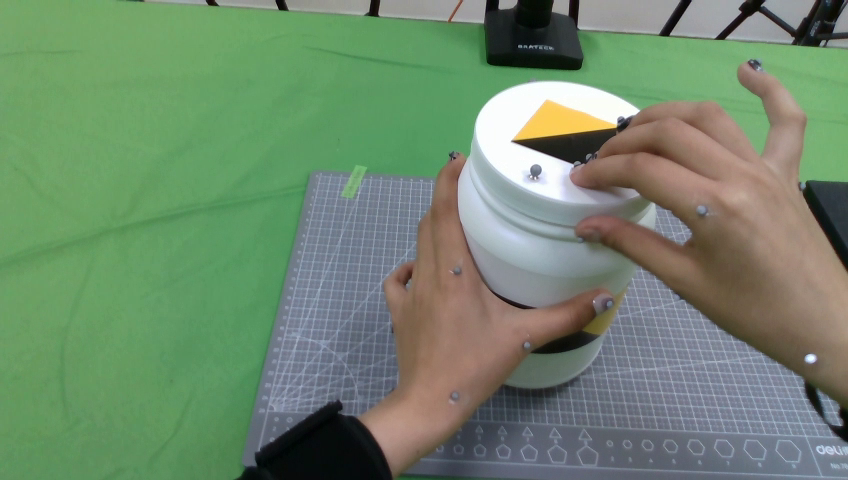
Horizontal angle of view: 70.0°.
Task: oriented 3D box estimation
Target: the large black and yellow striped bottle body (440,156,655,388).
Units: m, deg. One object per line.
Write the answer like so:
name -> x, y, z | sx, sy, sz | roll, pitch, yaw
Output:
large black and yellow striped bottle body -> 0.081, 0.005, 0.427 | 0.131, 0.185, 0.129 | 2, 48, -2

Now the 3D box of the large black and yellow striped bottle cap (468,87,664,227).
large black and yellow striped bottle cap -> 0.084, -0.054, 0.362 | 0.115, 0.019, 0.114 | 3, 46, -3
